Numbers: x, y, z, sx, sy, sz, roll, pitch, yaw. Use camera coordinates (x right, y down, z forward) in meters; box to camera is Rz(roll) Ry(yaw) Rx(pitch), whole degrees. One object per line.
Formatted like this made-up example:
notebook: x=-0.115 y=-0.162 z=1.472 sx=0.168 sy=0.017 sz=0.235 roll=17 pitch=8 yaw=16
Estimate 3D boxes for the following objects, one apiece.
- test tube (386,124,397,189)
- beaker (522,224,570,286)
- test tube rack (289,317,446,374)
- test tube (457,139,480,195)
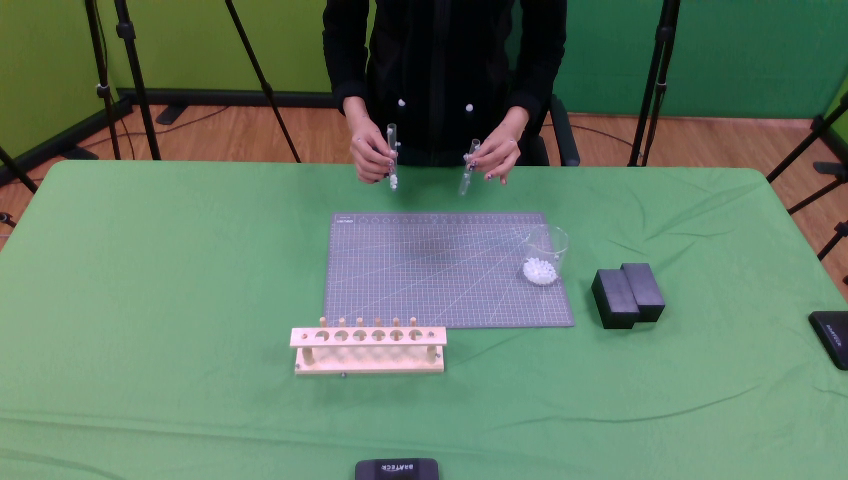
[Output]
test tube: x=-0.059 y=-0.148 z=1.100 sx=0.017 sy=0.151 sz=0.017 roll=0 pitch=50 yaw=0
beaker: x=0.221 y=0.032 z=1.129 sx=0.084 sy=0.101 sz=0.073 roll=-7 pitch=46 yaw=-9
test tube rack: x=-0.089 y=0.167 z=0.988 sx=0.242 sy=0.085 sz=0.066 roll=0 pitch=46 yaw=-4
test tube: x=0.081 y=-0.132 z=1.123 sx=0.017 sy=0.151 sz=0.017 roll=4 pitch=56 yaw=-6
